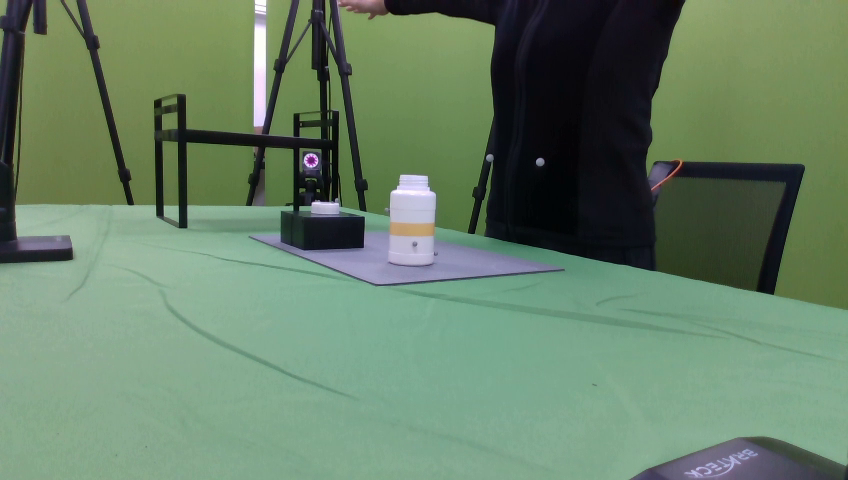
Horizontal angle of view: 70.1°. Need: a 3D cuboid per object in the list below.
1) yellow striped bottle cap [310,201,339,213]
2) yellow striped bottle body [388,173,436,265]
[{"bbox_3d":[-0.157,-0.051,0.956,0.044,0.018,0.044,4,6,0],"label":"yellow striped bottle cap"},{"bbox_3d":[-0.016,-0.030,0.813,0.063,0.120,0.063,2,7,0],"label":"yellow striped bottle body"}]
